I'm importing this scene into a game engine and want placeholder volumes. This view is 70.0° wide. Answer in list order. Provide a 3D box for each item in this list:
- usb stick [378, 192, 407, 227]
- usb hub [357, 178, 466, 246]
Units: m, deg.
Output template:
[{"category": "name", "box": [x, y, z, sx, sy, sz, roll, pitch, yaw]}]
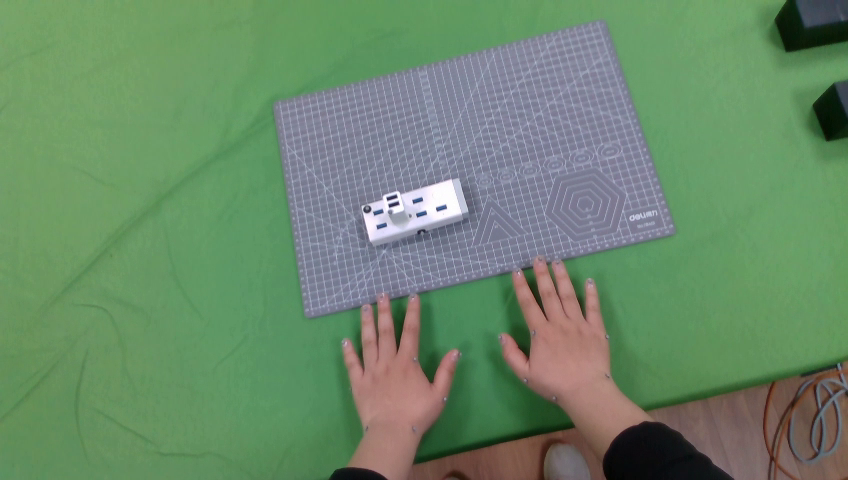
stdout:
[{"category": "usb stick", "box": [-0.035, -0.034, 0.710, 0.021, 0.059, 0.027, -21, 70, 3]}, {"category": "usb hub", "box": [-0.016, -0.034, 0.738, 0.125, 0.025, 0.049, -16, 72, 2]}]
